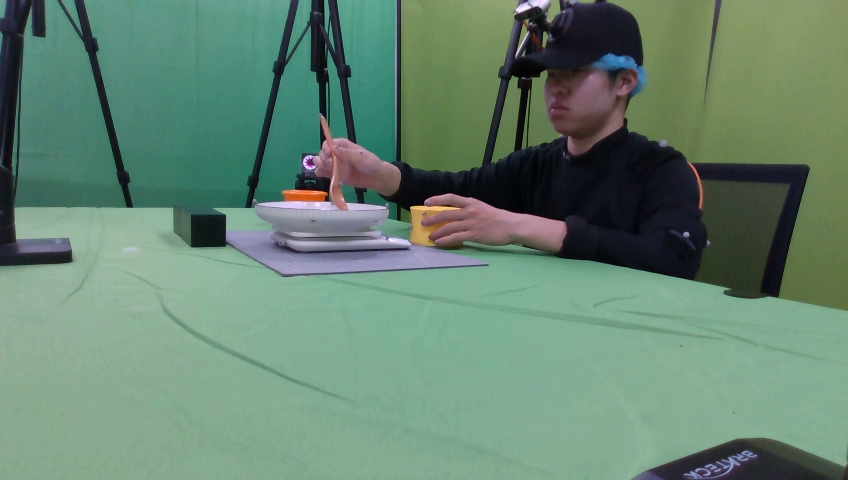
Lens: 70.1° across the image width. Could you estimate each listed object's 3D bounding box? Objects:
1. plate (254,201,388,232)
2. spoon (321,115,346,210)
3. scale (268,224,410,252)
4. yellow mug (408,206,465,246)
[{"bbox_3d":[-0.161,-0.037,0.961,0.209,0.038,0.209,2,6,0],"label":"plate"},{"bbox_3d":[-0.156,-0.133,1.028,0.021,0.193,0.042,-19,-24,21],"label":"spoon"},{"bbox_3d":[-0.138,-0.006,0.980,0.202,0.031,0.148,-1,8,-30],"label":"scale"},{"bbox_3d":[0.027,-0.028,1.104,0.099,0.064,0.131,5,7,20],"label":"yellow mug"}]
